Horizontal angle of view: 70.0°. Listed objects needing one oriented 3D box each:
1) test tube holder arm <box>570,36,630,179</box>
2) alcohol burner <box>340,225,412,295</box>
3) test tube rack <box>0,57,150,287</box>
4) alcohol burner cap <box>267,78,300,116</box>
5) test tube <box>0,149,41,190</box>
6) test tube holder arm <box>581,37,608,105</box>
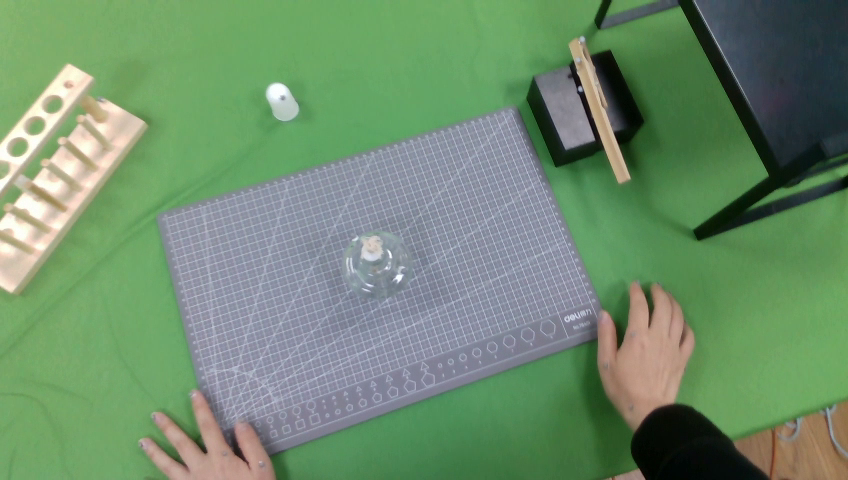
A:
[{"bbox_3d":[0.199,-0.152,0.688,0.013,0.015,0.177,-3,72,-37],"label":"test tube holder arm"},{"bbox_3d":[-0.052,0.017,0.640,0.078,0.120,0.077,0,73,1],"label":"alcohol burner"},{"bbox_3d":[-0.421,-0.074,0.670,0.066,0.085,0.241,30,76,7],"label":"test tube rack"},{"bbox_3d":[-0.170,-0.175,0.725,0.034,0.048,0.033,-1,72,3],"label":"alcohol burner cap"},{"bbox_3d":[-0.439,-0.087,0.621,0.017,0.151,0.017,1,70,-2],"label":"test tube"},{"bbox_3d":[0.193,-0.194,0.703,0.010,0.015,0.087,-2,72,-36],"label":"test tube holder arm"}]
